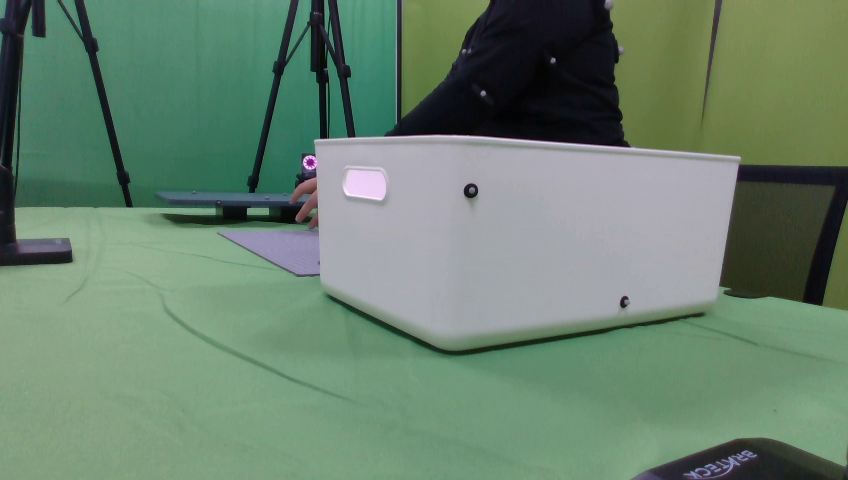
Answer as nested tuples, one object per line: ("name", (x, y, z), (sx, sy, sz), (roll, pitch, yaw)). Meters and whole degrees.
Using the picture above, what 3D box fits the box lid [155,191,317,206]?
("box lid", (-0.387, -0.091, 1.340), (0.373, 0.015, 0.262), (-1, 8, -30))

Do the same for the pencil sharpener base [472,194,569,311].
("pencil sharpener base", (0.095, 0.010, 0.592), (0.077, 0.107, 0.061), (-1, 7, -33))

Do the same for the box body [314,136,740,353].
("box body", (0.098, -0.012, 0.605), (0.366, 0.160, 0.253), (-2, 8, -33))

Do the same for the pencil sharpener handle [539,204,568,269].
("pencil sharpener handle", (0.138, -0.003, 0.620), (0.031, 0.067, 0.036), (-1, 14, -33))
